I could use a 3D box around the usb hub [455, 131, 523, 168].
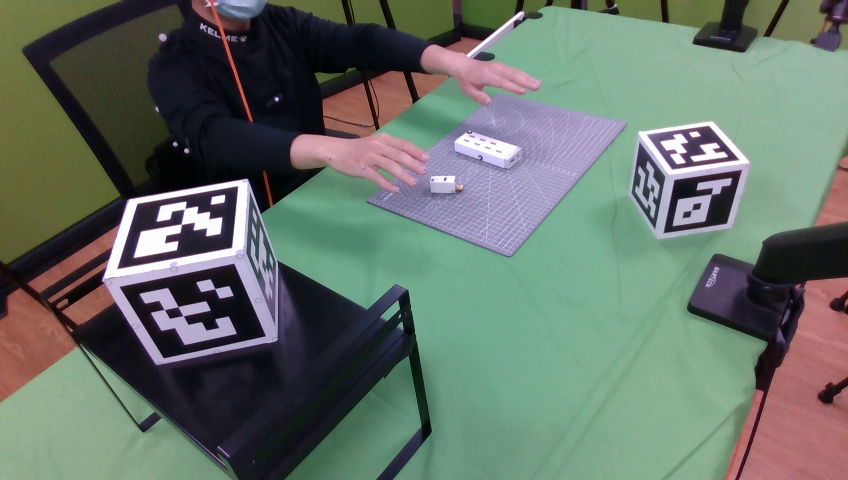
[{"bbox_3d":[0.122,-0.172,1.146,0.124,0.025,0.049,25,50,32],"label":"usb hub"}]

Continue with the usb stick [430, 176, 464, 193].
[{"bbox_3d":[0.042,-0.098,1.071,0.059,0.027,0.021,4,40,8],"label":"usb stick"}]
